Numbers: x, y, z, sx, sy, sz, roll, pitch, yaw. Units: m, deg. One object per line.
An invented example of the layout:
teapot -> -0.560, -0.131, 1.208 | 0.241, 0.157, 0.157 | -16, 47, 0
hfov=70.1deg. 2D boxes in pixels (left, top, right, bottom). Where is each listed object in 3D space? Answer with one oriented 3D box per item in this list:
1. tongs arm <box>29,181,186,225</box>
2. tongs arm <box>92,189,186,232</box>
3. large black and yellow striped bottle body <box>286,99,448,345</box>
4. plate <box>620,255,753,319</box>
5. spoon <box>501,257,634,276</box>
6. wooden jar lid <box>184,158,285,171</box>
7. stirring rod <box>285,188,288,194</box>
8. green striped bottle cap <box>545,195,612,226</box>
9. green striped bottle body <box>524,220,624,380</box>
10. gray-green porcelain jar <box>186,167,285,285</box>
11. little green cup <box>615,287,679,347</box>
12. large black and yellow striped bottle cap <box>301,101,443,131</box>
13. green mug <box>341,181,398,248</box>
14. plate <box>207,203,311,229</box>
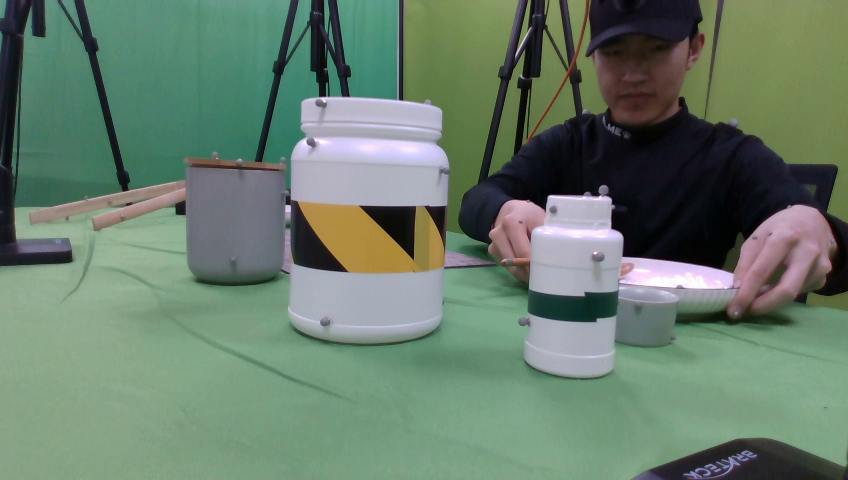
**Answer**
tongs arm -> -0.609, -0.083, 1.245 | 0.050, 0.026, 0.386 | 5, 16, 23
tongs arm -> -0.534, -0.076, 1.221 | 0.028, 0.028, 0.388 | -2, 15, 12
large black and yellow striped bottle body -> -0.047, -0.018, 0.501 | 0.131, 0.184, 0.130 | 2, 7, 0
plate -> 0.235, 0.048, 0.650 | 0.209, 0.038, 0.209 | 2, 7, 0
spoon -> 0.163, 0.027, 0.678 | 0.195, 0.021, 0.041 | 8, -3, -31
wooden jar lid -> -0.210, -0.078, 0.674 | 0.108, 0.020, 0.108 | 4, 6, 0
stirring rod -> -0.354, -0.122, 1.518 | 0.006, 0.014, 0.176 | 2, 6, 1
green striped bottle cap -> 0.106, -0.020, 0.414 | 0.044, 0.020, 0.044 | 2, 3, 0
green striped bottle body -> 0.104, 0.031, 0.422 | 0.063, 0.119, 0.063 | 2, 8, 0
gray-green porcelain jar -> -0.212, -0.017, 0.682 | 0.106, 0.126, 0.106 | 2, 7, 0
little green cup -> 0.180, 0.064, 0.506 | 0.061, 0.038, 0.061 | 1, 8, 0
large black and yellow striped bottle cap -> -0.042, -0.100, 0.491 | 0.115, 0.019, 0.115 | 1, 8, 0
green mug -> -0.090, -0.044, 0.997 | 0.093, 0.105, 0.125 | 1, 7, -8
plate -> -0.342, -0.050, 1.259 | 0.208, 0.039, 0.207 | 2, 7, 0
